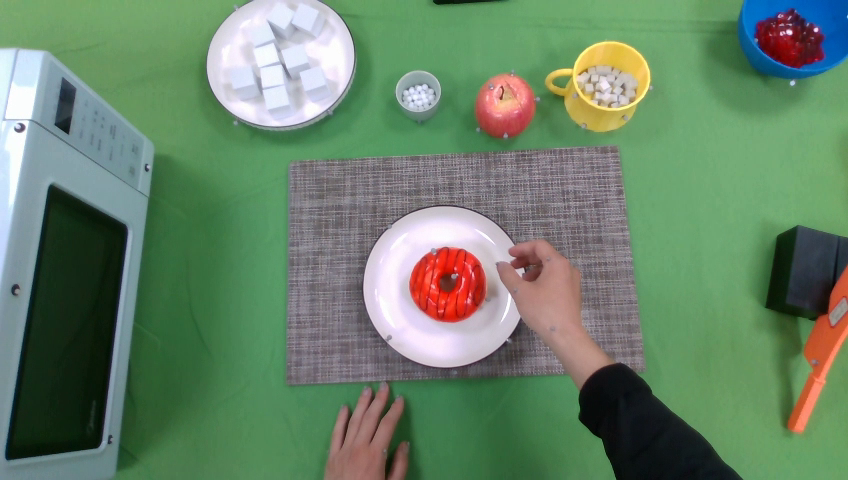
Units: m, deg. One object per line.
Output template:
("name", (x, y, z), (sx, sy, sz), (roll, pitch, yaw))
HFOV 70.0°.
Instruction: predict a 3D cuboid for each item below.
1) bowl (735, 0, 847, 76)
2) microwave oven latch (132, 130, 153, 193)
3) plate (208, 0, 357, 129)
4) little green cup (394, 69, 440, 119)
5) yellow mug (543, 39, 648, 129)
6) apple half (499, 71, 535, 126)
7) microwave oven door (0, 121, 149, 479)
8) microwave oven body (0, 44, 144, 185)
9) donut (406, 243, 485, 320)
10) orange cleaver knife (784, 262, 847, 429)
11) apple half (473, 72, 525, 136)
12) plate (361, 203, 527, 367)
("bowl", (0.486, -0.279, 0.814), (0.151, 0.077, 0.150), (-1, 77, 3))
("microwave oven latch", (-0.381, -0.104, 0.805), (0.030, 0.029, 0.079), (2, 77, 2))
("plate", (-0.195, -0.248, 0.852), (0.207, 0.039, 0.206), (0, 76, 2))
("little green cup", (-0.008, -0.199, 0.834), (0.061, 0.039, 0.061), (-1, 76, 2))
("yellow mug", (0.226, -0.210, 0.814), (0.131, 0.064, 0.099), (8, 77, 5))
("apple half", (0.128, -0.192, 0.809), (0.033, 0.081, 0.081), (-30, 77, 0))
("microwave oven door", (-0.390, 0.083, 0.656), (0.039, 0.245, 0.354), (0, 76, 3))
("microwave oven body", (-0.536, 0.043, 0.676), (0.326, 0.261, 0.439), (0, 77, 2))
("donut", (0.027, 0.052, 0.757), (0.099, 0.048, 0.098), (-1, 78, 3))
("orange cleaver knife", (0.468, 0.123, 0.714), (0.012, 0.077, 0.212), (16, 110, 8))
("apple half", (0.094, -0.173, 0.807), (0.053, 0.075, 0.080), (-29, 81, 0))
("plate", (0.025, 0.056, 0.768), (0.209, 0.038, 0.208), (0, 77, 2))
